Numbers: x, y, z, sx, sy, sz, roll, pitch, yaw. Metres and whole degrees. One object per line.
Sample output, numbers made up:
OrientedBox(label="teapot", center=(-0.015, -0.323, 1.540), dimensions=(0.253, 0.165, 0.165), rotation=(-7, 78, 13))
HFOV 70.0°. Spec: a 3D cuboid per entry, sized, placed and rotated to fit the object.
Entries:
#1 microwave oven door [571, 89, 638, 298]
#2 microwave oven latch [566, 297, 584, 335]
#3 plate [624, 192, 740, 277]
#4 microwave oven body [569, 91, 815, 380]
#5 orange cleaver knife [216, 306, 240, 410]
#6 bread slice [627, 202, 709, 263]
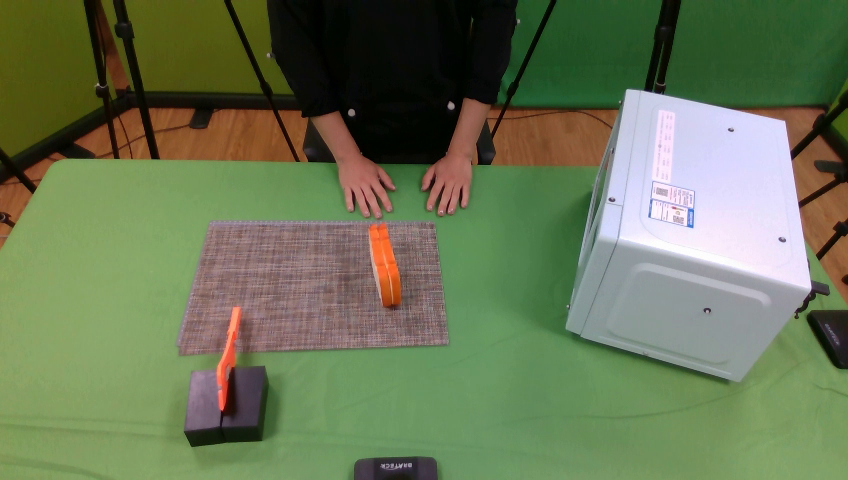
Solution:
OrientedBox(label="microwave oven door", center=(0.343, -0.091, 1.133), dimensions=(0.039, 0.245, 0.354), rotation=(15, 47, 10))
OrientedBox(label="microwave oven latch", center=(0.268, 0.126, 1.059), dimensions=(0.030, 0.029, 0.079), rotation=(16, 46, 12))
OrientedBox(label="plate", center=(0.481, -0.007, 1.144), dimensions=(0.208, 0.039, 0.206), rotation=(0, 48, 0))
OrientedBox(label="microwave oven body", center=(0.468, -0.022, 1.082), dimensions=(0.325, 0.261, 0.440), rotation=(15, 46, 11))
OrientedBox(label="orange cleaver knife", center=(-0.307, 0.180, 0.957), dimensions=(0.012, 0.077, 0.210), rotation=(-2, 25, -8))
OrientedBox(label="bread slice", center=(0.474, -0.022, 1.167), dimensions=(0.134, 0.018, 0.106), rotation=(-29, 54, -15))
